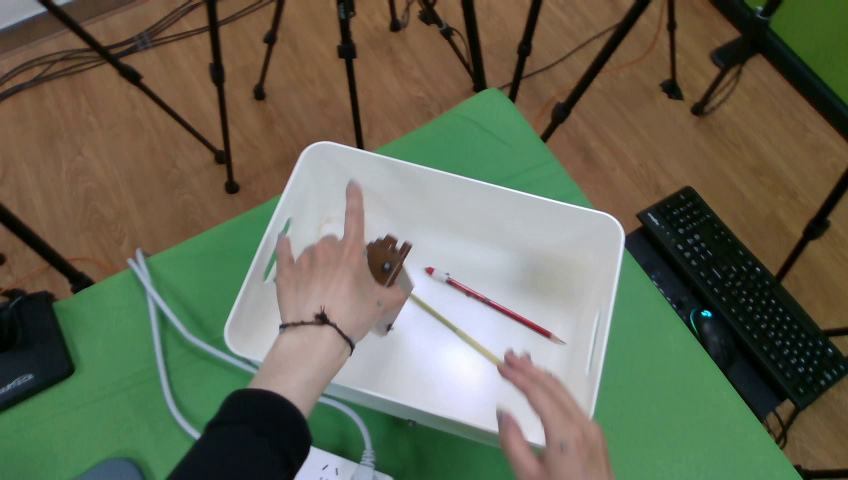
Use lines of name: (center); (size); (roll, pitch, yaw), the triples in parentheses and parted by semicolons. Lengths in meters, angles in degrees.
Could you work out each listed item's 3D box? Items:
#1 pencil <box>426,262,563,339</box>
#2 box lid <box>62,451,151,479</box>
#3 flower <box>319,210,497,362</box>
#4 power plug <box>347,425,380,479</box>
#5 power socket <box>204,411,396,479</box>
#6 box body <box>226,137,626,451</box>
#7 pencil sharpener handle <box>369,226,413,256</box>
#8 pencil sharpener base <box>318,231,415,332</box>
pencil: (0.087, 0.076, 0.760); (0.193, 0.012, 0.012); (29, 69, 9)
box lid: (-0.416, 0.419, 0.613); (0.371, 0.015, 0.261); (-31, 70, -13)
flower: (0.010, 0.085, 0.753); (0.360, 0.038, 0.044); (39, 94, 9)
power plug: (-0.056, 0.245, 0.654); (0.035, 0.053, 0.072); (27, 66, 15)
power socket: (-0.137, 0.257, 0.673); (0.226, 0.033, 0.072); (19, 68, 8)
box body: (0.009, 0.068, 0.685); (0.363, 0.161, 0.252); (15, 67, 6)
pencil sharpener handle: (-0.030, -0.002, 0.631); (0.036, 0.068, 0.030); (25, 77, 21)
pencil sharpener base: (-0.056, 0.044, 0.633); (0.061, 0.108, 0.076); (27, 77, 13)
